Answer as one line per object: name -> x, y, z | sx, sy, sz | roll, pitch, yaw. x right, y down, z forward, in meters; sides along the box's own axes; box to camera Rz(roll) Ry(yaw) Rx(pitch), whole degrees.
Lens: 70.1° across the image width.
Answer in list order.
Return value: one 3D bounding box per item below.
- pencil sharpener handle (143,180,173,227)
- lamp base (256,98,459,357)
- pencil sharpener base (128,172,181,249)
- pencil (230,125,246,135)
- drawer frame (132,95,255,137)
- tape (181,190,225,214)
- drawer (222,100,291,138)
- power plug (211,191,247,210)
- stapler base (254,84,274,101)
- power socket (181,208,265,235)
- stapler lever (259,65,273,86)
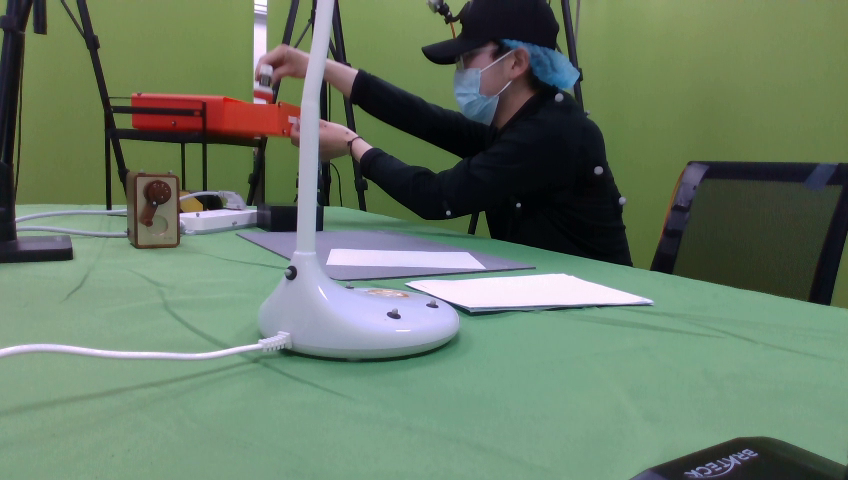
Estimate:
pencil sharpener handle -> -0.371, -0.050, 0.840 | 0.036, 0.067, 0.030 | 24, -5, -34
lamp base -> -0.055, -0.013, 0.463 | 0.160, 0.180, 0.180 | 6, 11, 27
pencil sharpener base -> -0.395, -0.044, 0.887 | 0.062, 0.107, 0.076 | -2, 9, -34
pencil -> -0.415, -0.247, 1.355 | 0.012, 0.012, 0.193 | -1, 6, -26
drawer frame -> -0.506, -0.280, 1.378 | 0.213, 0.082, 0.202 | 3, 8, 7
tape -> -0.516, -0.087, 1.388 | 0.117, 0.052, 0.117 | 4, 7, 0
drawer -> -0.387, -0.271, 1.363 | 0.211, 0.073, 0.194 | 3, 8, 8
power plug -> -0.386, -0.071, 1.205 | 0.072, 0.052, 0.035 | 7, 9, 27
stapler base -> -0.352, -0.330, 1.333 | 0.041, 0.024, 0.130 | 10, -1, -16
power socket -> -0.381, -0.038, 1.129 | 0.072, 0.032, 0.227 | 4, 8, 17
stapler lever -> -0.350, -0.355, 1.334 | 0.027, 0.040, 0.117 | 10, -1, -16
